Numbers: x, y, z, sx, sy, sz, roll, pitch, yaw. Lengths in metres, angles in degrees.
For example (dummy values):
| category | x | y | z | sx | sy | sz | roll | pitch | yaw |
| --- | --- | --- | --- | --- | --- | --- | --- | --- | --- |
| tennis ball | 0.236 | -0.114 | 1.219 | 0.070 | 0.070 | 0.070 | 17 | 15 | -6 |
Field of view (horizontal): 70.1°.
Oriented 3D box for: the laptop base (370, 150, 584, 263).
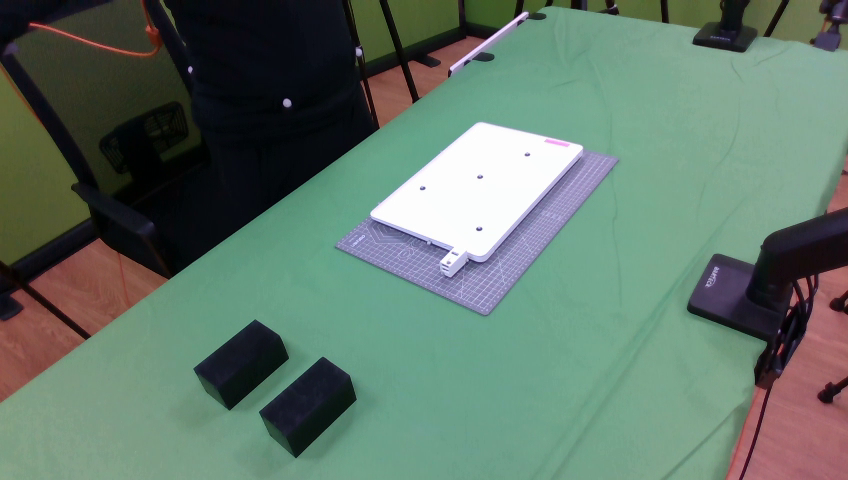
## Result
| category | x | y | z | sx | sy | sz | roll | pitch | yaw |
| --- | --- | --- | --- | --- | --- | --- | --- | --- | --- |
| laptop base | 0.102 | -0.096 | 1.071 | 0.233 | 0.023 | 0.355 | 19 | 47 | 32 |

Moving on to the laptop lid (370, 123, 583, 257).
| category | x | y | z | sx | sy | sz | roll | pitch | yaw |
| --- | --- | --- | --- | --- | --- | --- | --- | --- | --- |
| laptop lid | 0.099 | -0.106 | 1.064 | 0.240 | 0.013 | 0.358 | 22 | 48 | 33 |

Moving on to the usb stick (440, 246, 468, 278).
| category | x | y | z | sx | sy | sz | roll | pitch | yaw |
| --- | --- | --- | --- | --- | --- | --- | --- | --- | --- |
| usb stick | 0.050 | 0.029 | 0.912 | 0.021 | 0.027 | 0.059 | 25 | 47 | 31 |
